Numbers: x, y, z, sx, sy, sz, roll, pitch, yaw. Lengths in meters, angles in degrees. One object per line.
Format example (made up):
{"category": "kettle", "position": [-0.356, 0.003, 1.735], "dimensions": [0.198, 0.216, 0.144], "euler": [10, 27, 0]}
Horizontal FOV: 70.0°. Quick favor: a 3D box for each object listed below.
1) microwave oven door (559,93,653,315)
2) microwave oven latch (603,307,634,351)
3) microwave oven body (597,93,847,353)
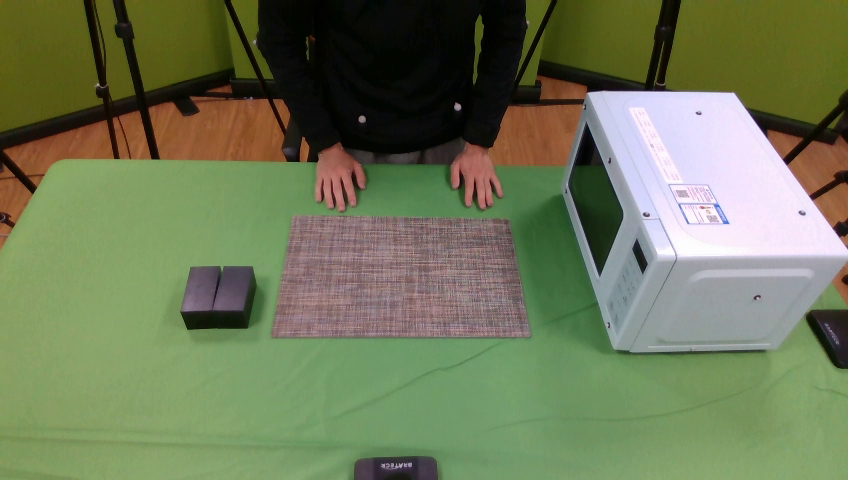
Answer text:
{"category": "microwave oven door", "position": [0.327, -0.074, 1.123], "dimensions": [0.039, 0.245, 0.353], "euler": [-1, 46, -5]}
{"category": "microwave oven latch", "position": [0.332, 0.153, 1.044], "dimensions": [0.030, 0.029, 0.078], "euler": [0, 45, -3]}
{"category": "microwave oven body", "position": [0.475, -0.041, 1.109], "dimensions": [0.326, 0.261, 0.438], "euler": [-1, 45, -4]}
